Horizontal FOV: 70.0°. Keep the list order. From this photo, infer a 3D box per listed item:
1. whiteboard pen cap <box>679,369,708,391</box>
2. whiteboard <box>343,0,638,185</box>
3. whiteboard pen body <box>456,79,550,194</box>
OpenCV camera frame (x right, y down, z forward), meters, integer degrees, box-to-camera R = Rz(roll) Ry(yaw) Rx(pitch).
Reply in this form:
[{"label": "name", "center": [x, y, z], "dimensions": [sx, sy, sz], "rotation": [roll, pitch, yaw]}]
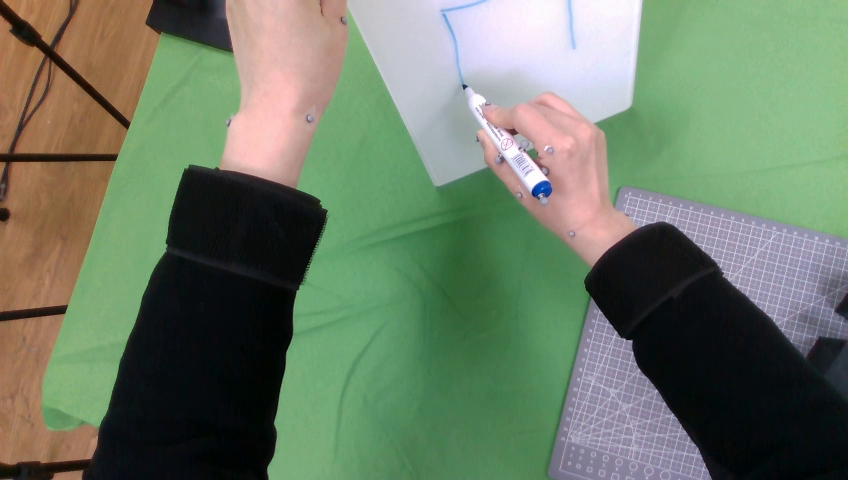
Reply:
[{"label": "whiteboard pen cap", "center": [0.256, 0.132, 0.577], "dimensions": [0.018, 0.033, 0.018], "rotation": [0, 88, 6]}, {"label": "whiteboard", "center": [0.053, -0.214, 0.518], "dimensions": [0.217, 0.308, 0.142], "rotation": [-21, 64, 5]}, {"label": "whiteboard pen body", "center": [0.055, -0.085, 0.463], "dimensions": [0.017, 0.017, 0.139], "rotation": [-32, 54, 4]}]
